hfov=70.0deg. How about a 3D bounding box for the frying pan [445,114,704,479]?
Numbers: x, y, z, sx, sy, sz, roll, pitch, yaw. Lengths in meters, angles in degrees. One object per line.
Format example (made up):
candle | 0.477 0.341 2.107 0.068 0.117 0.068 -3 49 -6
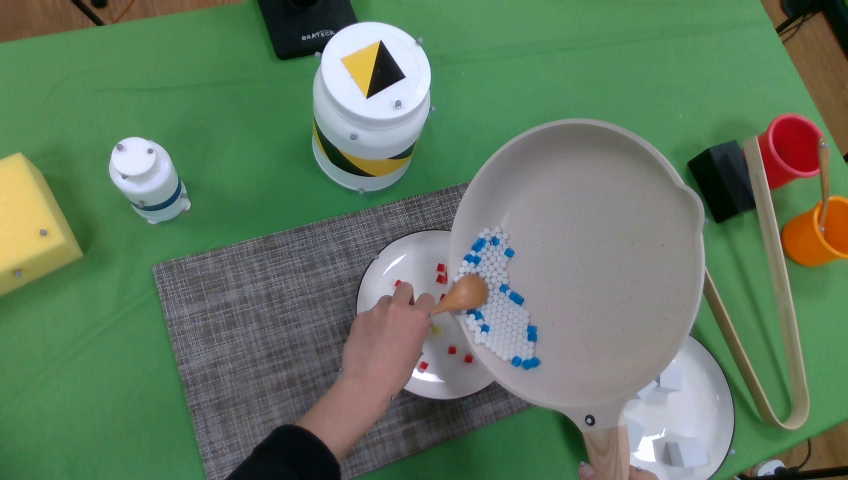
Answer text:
frying pan | 0.160 0.116 0.593 0.103 0.306 0.484 14 62 -41

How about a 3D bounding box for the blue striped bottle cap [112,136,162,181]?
blue striped bottle cap | -0.297 -0.085 0.626 0.045 0.021 0.044 3 71 -8

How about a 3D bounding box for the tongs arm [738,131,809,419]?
tongs arm | 0.468 0.043 0.816 0.028 0.027 0.386 -7 85 -21

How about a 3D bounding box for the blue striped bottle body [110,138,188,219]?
blue striped bottle body | -0.306 -0.071 0.675 0.063 0.121 0.062 3 73 -10

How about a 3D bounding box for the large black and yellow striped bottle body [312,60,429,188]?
large black and yellow striped bottle body | -0.066 -0.152 0.714 0.131 0.184 0.130 3 73 -10

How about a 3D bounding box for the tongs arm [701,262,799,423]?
tongs arm | 0.390 0.066 0.791 0.051 0.026 0.384 -22 89 -19

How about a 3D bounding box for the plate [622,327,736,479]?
plate | 0.288 0.200 0.762 0.208 0.039 0.206 3 73 -10

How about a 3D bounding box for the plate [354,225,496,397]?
plate | 0.018 0.084 0.736 0.210 0.038 0.208 3 74 -10

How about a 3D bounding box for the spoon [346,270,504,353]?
spoon | 0.005 0.080 0.659 0.194 0.042 0.021 -21 45 -12

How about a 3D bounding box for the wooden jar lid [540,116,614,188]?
wooden jar lid | 0.212 -0.122 0.848 0.109 0.021 0.108 3 75 -11

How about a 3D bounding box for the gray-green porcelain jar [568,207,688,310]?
gray-green porcelain jar | 0.246 0.029 0.755 0.106 0.127 0.105 3 73 -10

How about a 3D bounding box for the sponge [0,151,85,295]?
sponge | -0.498 0.008 0.645 0.207 0.061 0.118 -31 82 -18

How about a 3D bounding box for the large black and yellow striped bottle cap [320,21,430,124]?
large black and yellow striped bottle cap | -0.051 -0.176 0.633 0.115 0.019 0.114 3 72 -9

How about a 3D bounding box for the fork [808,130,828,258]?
fork | 0.541 -0.059 0.827 0.028 0.018 0.209 -30 126 -10
